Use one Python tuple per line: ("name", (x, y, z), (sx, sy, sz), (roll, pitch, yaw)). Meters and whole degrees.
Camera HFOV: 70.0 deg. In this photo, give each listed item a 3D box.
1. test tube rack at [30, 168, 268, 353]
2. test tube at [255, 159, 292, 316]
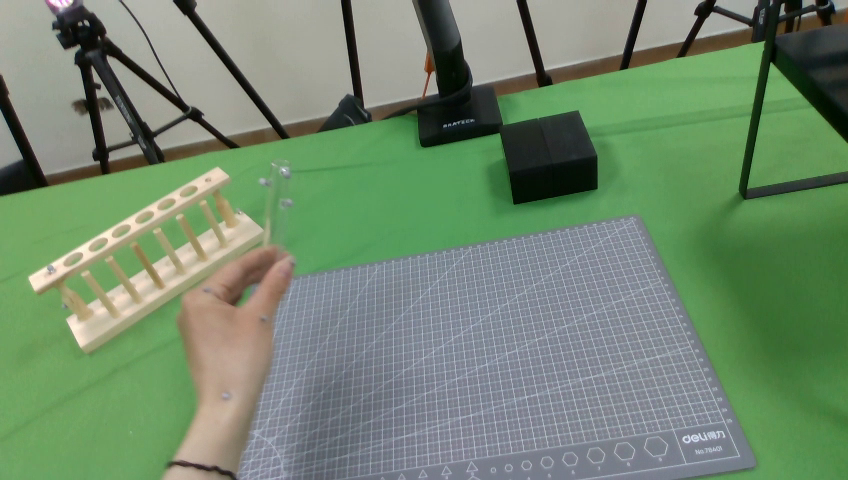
("test tube rack", (-0.319, 0.019, 0.725), (0.242, 0.086, 0.066), (-36, 46, -22))
("test tube", (-0.127, 0.002, 0.506), (0.017, 0.151, 0.017), (12, 29, -6))
